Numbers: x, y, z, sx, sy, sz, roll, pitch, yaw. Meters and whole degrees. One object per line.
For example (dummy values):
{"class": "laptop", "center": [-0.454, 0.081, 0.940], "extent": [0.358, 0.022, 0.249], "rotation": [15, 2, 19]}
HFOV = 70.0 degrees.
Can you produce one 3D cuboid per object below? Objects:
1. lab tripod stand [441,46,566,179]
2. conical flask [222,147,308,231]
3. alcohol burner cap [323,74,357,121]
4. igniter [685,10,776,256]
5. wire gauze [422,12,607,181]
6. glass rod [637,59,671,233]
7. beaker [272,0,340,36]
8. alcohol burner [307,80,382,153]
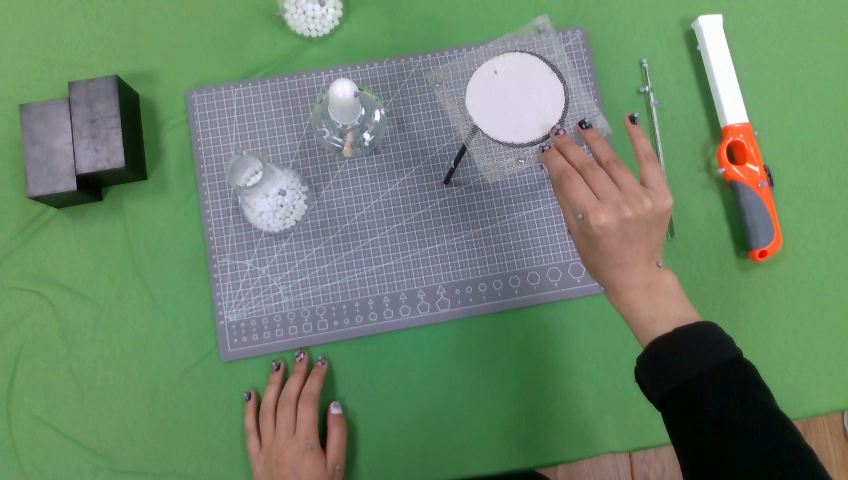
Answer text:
{"class": "lab tripod stand", "center": [0.078, -0.117, 0.599], "extent": [0.148, 0.132, 0.148], "rotation": [0, 84, 0]}
{"class": "conical flask", "center": [-0.160, -0.054, 0.591], "extent": [0.075, 0.122, 0.075], "rotation": [0, 82, -1]}
{"class": "alcohol burner cap", "center": [-0.080, -0.138, 0.572], "extent": [0.034, 0.048, 0.033], "rotation": [2, 74, -7]}
{"class": "igniter", "center": [0.334, -0.119, 0.660], "extent": [0.057, 0.025, 0.275], "rotation": [-9, 82, -13]}
{"class": "wire gauze", "center": [0.079, -0.126, 0.530], "extent": [0.125, 0.011, 0.121], "rotation": [-26, 81, -5]}
{"class": "glass rod", "center": [0.252, -0.105, 0.666], "extent": [0.008, 0.008, 0.199], "rotation": [-6, 82, -2]}
{"class": "beaker", "center": [-0.127, -0.270, 0.637], "extent": [0.074, 0.100, 0.084], "rotation": [38, 83, 4]}
{"class": "alcohol burner", "center": [-0.081, -0.130, 0.608], "extent": [0.078, 0.119, 0.077], "rotation": [0, 80, -2]}
